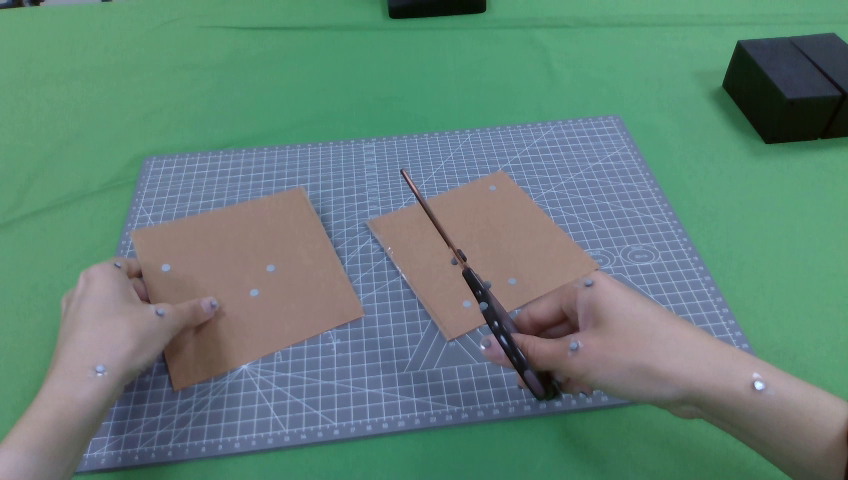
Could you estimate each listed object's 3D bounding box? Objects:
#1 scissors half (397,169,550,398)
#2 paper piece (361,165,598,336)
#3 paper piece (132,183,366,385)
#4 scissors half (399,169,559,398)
[{"bbox_3d":[0.022,0.017,0.363,0.013,0.040,0.173,-38,58,11],"label":"scissors half"},{"bbox_3d":[0.041,0.000,0.477,0.138,0.009,0.134,-21,54,-19],"label":"paper piece"},{"bbox_3d":[-0.130,0.024,0.446,0.136,0.004,0.134,-18,61,-20],"label":"paper piece"},{"bbox_3d":[0.030,0.022,0.381,0.013,0.040,0.174,-35,75,6],"label":"scissors half"}]
